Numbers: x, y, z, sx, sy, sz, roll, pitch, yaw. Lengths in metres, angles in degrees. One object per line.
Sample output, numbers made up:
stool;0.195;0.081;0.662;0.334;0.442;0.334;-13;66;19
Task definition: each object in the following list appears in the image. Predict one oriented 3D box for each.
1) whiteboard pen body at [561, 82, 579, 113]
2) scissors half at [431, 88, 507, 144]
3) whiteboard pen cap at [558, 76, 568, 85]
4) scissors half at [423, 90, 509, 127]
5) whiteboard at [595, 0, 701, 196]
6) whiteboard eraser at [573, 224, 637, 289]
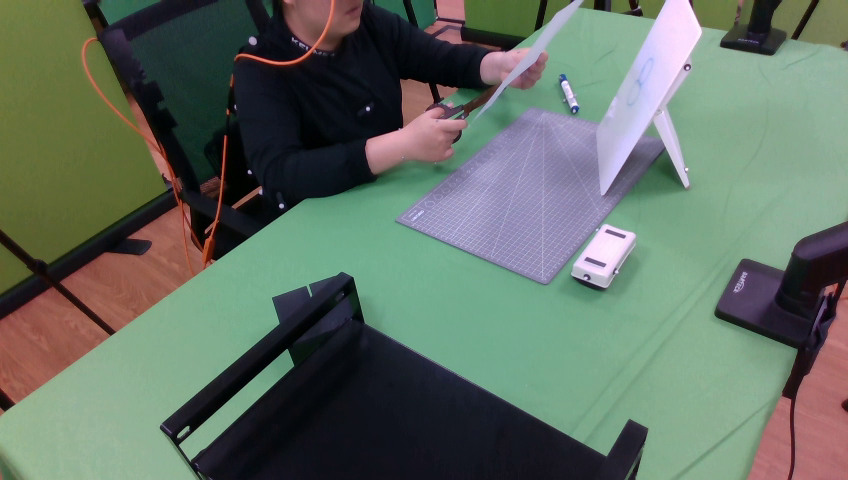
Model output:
whiteboard pen body;0.311;-0.312;1.297;0.017;0.017;0.140;-6;41;3
scissors half;0.082;-0.225;1.098;0.174;0.040;0.013;-33;12;34
whiteboard pen cap;0.310;-0.350;1.341;0.018;0.018;0.033;-6;40;2
scissors half;0.073;-0.243;1.093;0.174;0.040;0.013;-10;19;28
whiteboard;0.421;-0.227;1.010;0.144;0.305;0.216;18;42;-2
whiteboard eraser;0.267;0.025;0.891;0.055;0.042;0.113;19;47;31
